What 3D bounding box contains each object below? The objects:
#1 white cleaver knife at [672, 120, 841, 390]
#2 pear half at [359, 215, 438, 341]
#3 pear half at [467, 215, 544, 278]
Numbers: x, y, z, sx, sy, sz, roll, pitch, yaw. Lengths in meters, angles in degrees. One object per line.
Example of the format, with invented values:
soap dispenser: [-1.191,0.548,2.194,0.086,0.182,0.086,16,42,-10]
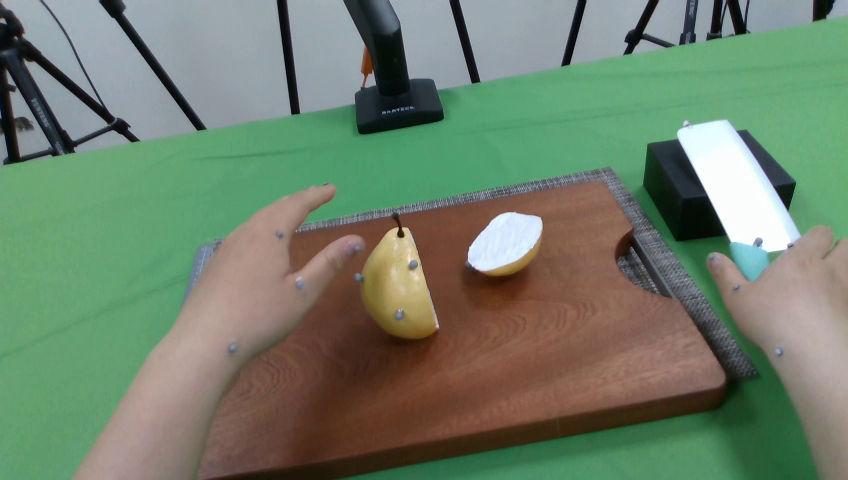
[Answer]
white cleaver knife: [0.282,-0.009,0.512,0.066,0.022,0.283,-9,52,6]
pear half: [-0.025,0.028,0.466,0.056,0.111,0.075,-16,35,-8]
pear half: [0.075,0.009,0.531,0.070,0.031,0.087,-17,23,15]
